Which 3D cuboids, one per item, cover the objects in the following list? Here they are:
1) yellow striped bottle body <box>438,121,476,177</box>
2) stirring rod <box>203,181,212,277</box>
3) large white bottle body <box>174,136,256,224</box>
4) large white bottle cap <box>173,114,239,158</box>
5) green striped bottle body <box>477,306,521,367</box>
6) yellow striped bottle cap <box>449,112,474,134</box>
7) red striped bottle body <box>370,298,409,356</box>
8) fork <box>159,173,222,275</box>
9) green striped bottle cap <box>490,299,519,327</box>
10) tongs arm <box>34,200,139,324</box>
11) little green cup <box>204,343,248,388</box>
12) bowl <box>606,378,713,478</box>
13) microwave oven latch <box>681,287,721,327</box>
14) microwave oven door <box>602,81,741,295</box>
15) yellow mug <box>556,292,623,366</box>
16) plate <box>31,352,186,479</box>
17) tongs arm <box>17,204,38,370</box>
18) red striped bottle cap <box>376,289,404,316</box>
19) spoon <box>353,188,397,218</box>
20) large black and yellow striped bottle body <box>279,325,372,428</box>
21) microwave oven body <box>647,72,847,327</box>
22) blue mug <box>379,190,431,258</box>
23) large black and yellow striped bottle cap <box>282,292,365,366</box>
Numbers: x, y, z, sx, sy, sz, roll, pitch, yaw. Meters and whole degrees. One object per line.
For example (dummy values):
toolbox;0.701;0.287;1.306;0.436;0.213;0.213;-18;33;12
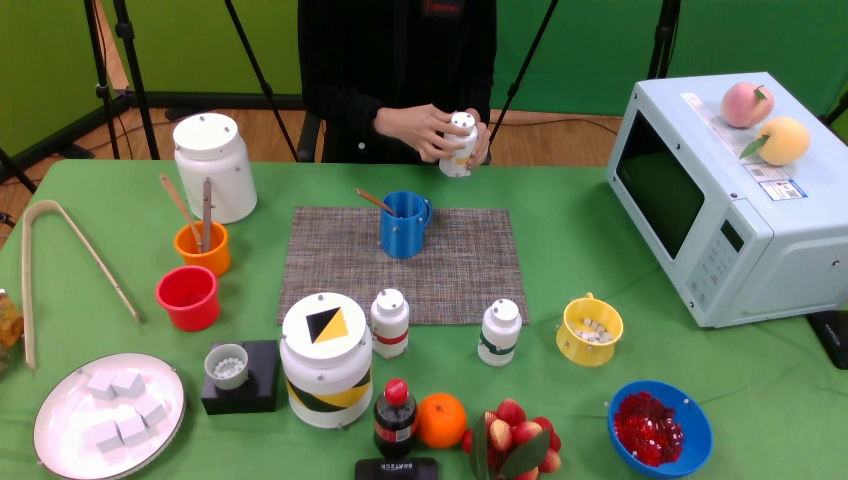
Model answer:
yellow striped bottle body;0.063;-0.182;1.148;0.063;0.121;0.062;4;52;-4
stirring rod;-0.396;-0.021;1.108;0.014;0.006;0.176;-1;89;-1
large white bottle body;-0.408;-0.137;1.183;0.131;0.185;0.130;2;46;-2
large white bottle cap;-0.403;-0.195;1.122;0.115;0.018;0.114;2;47;-2
green striped bottle body;0.124;0.151;0.995;0.063;0.120;0.063;2;46;-1
yellow striped bottle cap;0.068;-0.214;1.108;0.044;0.019;0.044;4;52;-5
red striped bottle body;-0.058;0.134;0.997;0.063;0.120;0.062;4;47;-4
fork;-0.427;-0.029;1.103;0.028;0.018;0.207;-31;99;-30
green striped bottle cap;0.127;0.115;0.958;0.044;0.020;0.044;2;47;-2
tongs arm;-0.622;0.034;1.105;0.051;0.026;0.382;-32;55;-26
little green cup;-0.294;0.190;0.909;0.061;0.039;0.061;1;48;-1
bowl;0.340;0.292;0.906;0.151;0.077;0.150;2;46;-2
microwave oven latch;0.494;0.119;1.087;0.030;0.029;0.078;-6;46;-9
microwave oven door;0.456;-0.107;1.162;0.039;0.245;0.353;-6;47;-11
yellow mug;0.285;0.145;1.051;0.100;0.064;0.130;7;45;3
plate;-0.459;0.262;0.898;0.209;0.038;0.208;2;46;-2
tongs arm;-0.698;0.069;1.068;0.028;0.028;0.385;-20;50;-13
red striped bottle cap;-0.055;0.098;0.958;0.044;0.018;0.044;0;48;1
spoon;-0.069;-0.053;1.121;0.021;0.195;0.041;-36;51;11
large black and yellow striped bottle body;-0.143;0.181;0.900;0.131;0.185;0.130;2;46;-2
microwave oven body;0.607;-0.089;1.164;0.326;0.261;0.438;-7;46;-10
blue mug;-0.032;-0.037;1.169;0.116;0.106;0.082;-30;55;-28
large black and yellow striped bottle cap;-0.139;0.121;0.841;0.115;0.019;0.114;3;47;-3
